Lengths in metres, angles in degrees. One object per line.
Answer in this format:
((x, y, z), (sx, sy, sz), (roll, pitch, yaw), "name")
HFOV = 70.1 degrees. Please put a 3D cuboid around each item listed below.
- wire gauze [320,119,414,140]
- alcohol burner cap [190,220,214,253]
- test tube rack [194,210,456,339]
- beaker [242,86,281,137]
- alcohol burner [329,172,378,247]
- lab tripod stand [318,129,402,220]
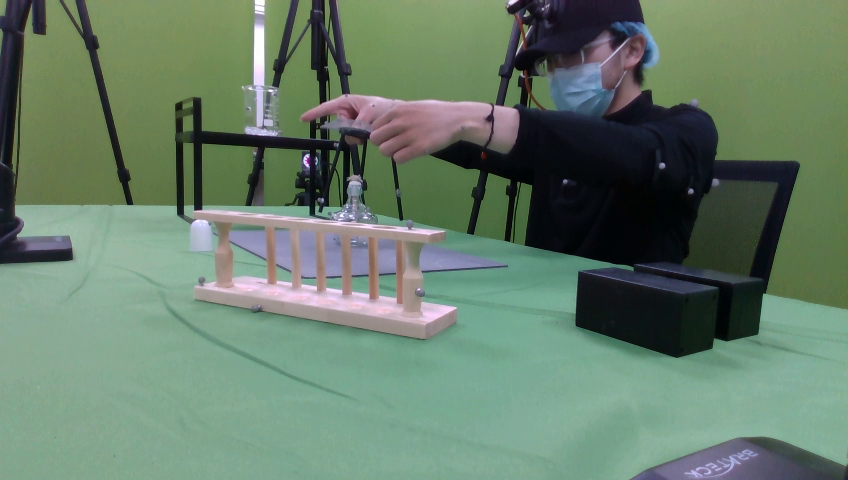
((-0.092, -0.172, 0.952), (0.125, 0.011, 0.121), (8, 4, -21), "wire gauze")
((-0.321, -0.006, 0.875), (0.034, 0.048, 0.034), (4, 8, 0), "alcohol burner cap")
((-0.093, 0.023, 0.545), (0.241, 0.085, 0.067), (6, 8, 25), "test tube rack")
((-0.338, -0.265, 1.252), (0.073, 0.100, 0.084), (8, 10, 38), "beaker")
((-0.113, -0.049, 0.972), (0.078, 0.119, 0.078), (1, 9, 0), "alcohol burner")
((-0.095, -0.104, 0.962), (0.148, 0.131, 0.148), (8, 5, 0), "lab tripod stand")
